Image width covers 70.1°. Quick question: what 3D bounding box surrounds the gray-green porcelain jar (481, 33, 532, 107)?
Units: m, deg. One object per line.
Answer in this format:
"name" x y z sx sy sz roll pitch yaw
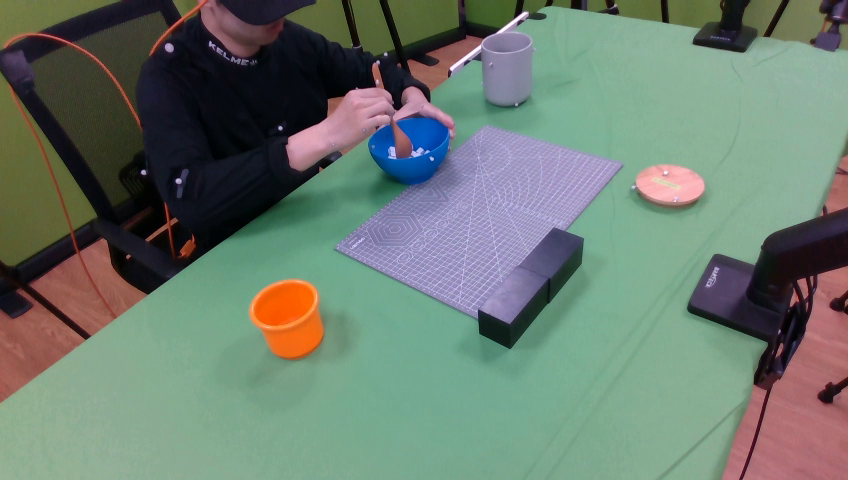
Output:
"gray-green porcelain jar" 0.175 -0.355 1.278 0.106 0.127 0.105 -4 41 4

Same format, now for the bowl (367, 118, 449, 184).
"bowl" -0.023 -0.154 1.107 0.151 0.077 0.150 -6 38 5

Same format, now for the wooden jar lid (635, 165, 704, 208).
"wooden jar lid" 0.410 -0.089 1.014 0.108 0.021 0.108 -5 42 5

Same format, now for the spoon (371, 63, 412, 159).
"spoon" -0.059 -0.219 1.055 0.042 0.195 0.021 -41 40 -23
